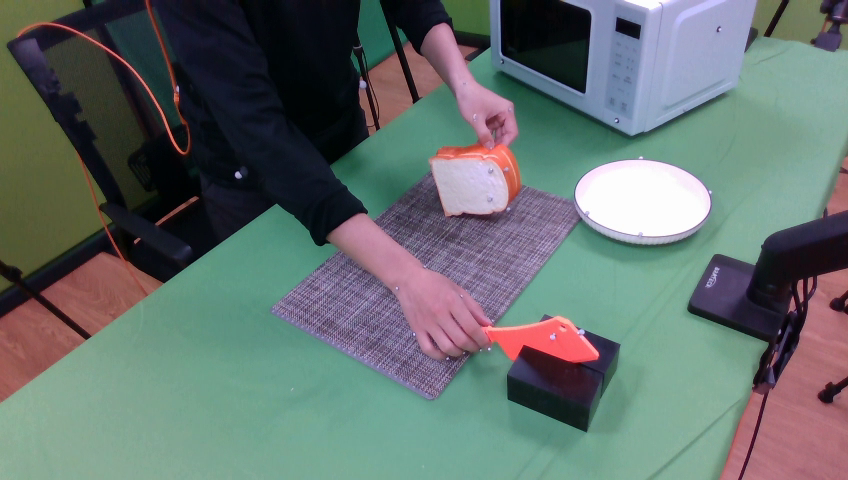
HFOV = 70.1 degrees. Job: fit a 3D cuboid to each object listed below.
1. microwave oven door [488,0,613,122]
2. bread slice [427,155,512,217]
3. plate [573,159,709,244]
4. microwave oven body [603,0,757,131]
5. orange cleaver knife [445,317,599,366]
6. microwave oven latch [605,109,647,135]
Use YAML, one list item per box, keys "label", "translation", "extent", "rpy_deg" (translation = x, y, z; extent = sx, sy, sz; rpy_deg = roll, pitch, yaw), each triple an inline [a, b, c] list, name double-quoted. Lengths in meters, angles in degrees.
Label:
- label: "microwave oven door"
  translation: [0.250, -0.412, 1.219]
  extent: [0.039, 0.245, 0.352]
  rpy_deg: [-27, 44, -21]
- label: "bread slice"
  translation: [0.076, -0.090, 0.966]
  extent: [0.133, 0.107, 0.018]
  rpy_deg: [-3, 31, 36]
- label: "plate"
  translation: [0.347, -0.059, 0.978]
  extent: [0.207, 0.039, 0.206]
  rpy_deg: [-4, 41, 4]
- label: "microwave oven body"
  translation: [0.396, -0.448, 1.248]
  extent: [0.327, 0.261, 0.437]
  rpy_deg: [-27, 44, -21]
- label: "orange cleaver knife"
  translation: [0.115, 0.129, 0.752]
  extent: [0.210, 0.077, 0.012]
  rpy_deg: [-11, 31, 45]
- label: "microwave oven latch"
  translation: [0.379, -0.225, 1.139]
  extent: [0.030, 0.029, 0.078]
  rpy_deg: [-26, 43, -20]
